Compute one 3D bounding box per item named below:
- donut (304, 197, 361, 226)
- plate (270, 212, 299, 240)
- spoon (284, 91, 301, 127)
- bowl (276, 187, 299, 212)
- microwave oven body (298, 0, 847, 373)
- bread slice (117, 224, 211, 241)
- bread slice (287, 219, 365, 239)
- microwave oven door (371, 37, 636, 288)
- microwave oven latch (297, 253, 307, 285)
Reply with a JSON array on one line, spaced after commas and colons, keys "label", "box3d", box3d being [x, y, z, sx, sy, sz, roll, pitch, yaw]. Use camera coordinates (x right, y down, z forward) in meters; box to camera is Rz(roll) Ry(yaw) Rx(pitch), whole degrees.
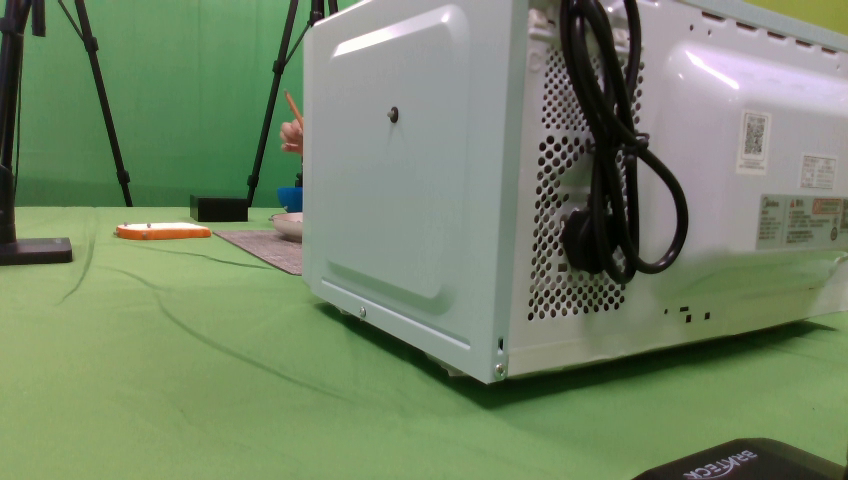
[{"label": "donut", "box3d": [-0.159, -0.050, 1.055, 0.099, 0.048, 0.099, 3, 8, 0]}, {"label": "plate", "box3d": [-0.162, -0.022, 1.057, 0.208, 0.039, 0.207, 2, 7, 0]}, {"label": "spoon", "box3d": [-0.208, -0.178, 1.064, 0.021, 0.193, 0.042, -22, -9, 6]}, {"label": "bowl", "box3d": [-0.241, -0.073, 1.302, 0.151, 0.077, 0.151, 2, 7, 0]}, {"label": "microwave oven body", "box3d": [0.151, -0.055, 0.542, 0.444, 0.260, 0.324, -2, 7, -33]}, {"label": "bread slice", "box3d": [-0.443, -0.015, 1.022, 0.132, 0.019, 0.104, -3, 8, -45]}, {"label": "bread slice", "box3d": [-0.170, -0.020, 1.057, 0.134, 0.018, 0.107, 4, 7, -6]}, {"label": "microwave oven door", "box3d": [0.109, -0.080, 0.686, 0.358, 0.243, 0.039, -2, 9, -33]}, {"label": "microwave oven latch", "box3d": [-0.081, 0.027, 0.582, 0.079, 0.029, 0.030, -1, 7, -32]}]
